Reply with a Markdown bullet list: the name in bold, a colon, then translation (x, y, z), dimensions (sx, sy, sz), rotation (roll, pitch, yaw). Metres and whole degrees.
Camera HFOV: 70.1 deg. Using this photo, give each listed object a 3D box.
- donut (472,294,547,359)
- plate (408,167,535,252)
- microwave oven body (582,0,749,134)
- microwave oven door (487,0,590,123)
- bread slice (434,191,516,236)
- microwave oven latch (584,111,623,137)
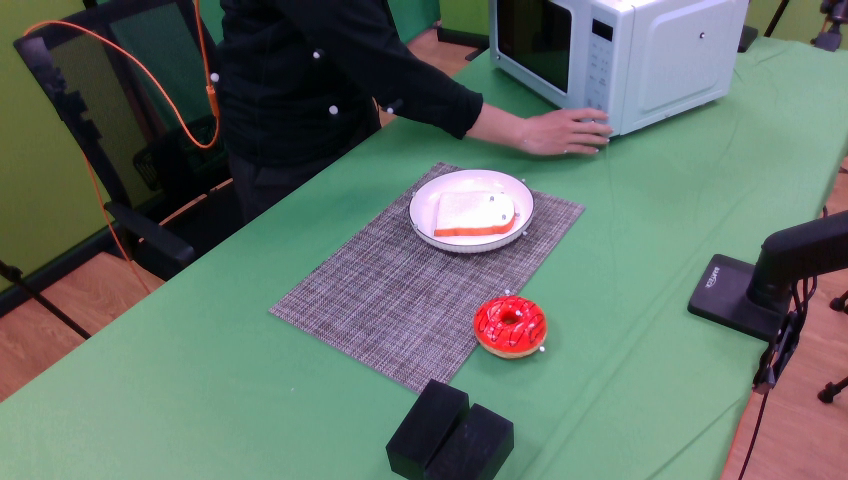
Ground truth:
- **donut**: translation (0.114, 0.114, 0.803), dimensions (0.099, 0.048, 0.098), rotation (0, 40, 1)
- **plate**: translation (0.078, -0.047, 0.996), dimensions (0.207, 0.039, 0.206), rotation (-4, 41, 4)
- **microwave oven body**: translation (0.382, -0.444, 1.246), dimensions (0.327, 0.261, 0.437), rotation (-22, 42, -16)
- **microwave oven door**: translation (0.232, -0.420, 1.230), dimensions (0.039, 0.245, 0.352), rotation (-22, 42, -16)
- **bread slice**: translation (0.086, -0.046, 0.996), dimensions (0.131, 0.019, 0.104), rotation (-1, 42, 7)
- **microwave oven latch**: translation (0.337, -0.222, 1.142), dimensions (0.030, 0.029, 0.078), rotation (-21, 42, -14)
